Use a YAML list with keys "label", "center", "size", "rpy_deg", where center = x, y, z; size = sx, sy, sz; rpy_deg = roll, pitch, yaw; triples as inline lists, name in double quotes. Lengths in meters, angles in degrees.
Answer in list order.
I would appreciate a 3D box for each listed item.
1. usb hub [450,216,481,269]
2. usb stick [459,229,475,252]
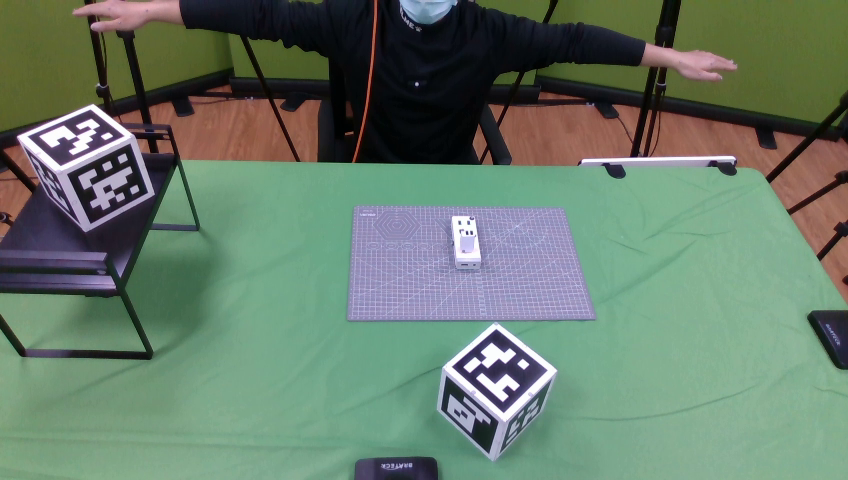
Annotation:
- label: "usb hub"
  center: [0.082, 0.004, 1.194]
  size: [0.049, 0.025, 0.124]
  rpy_deg: [1, 46, -4]
- label: "usb stick"
  center: [0.081, 0.006, 1.151]
  size: [0.027, 0.059, 0.021]
  rpy_deg: [-1, 45, -6]
